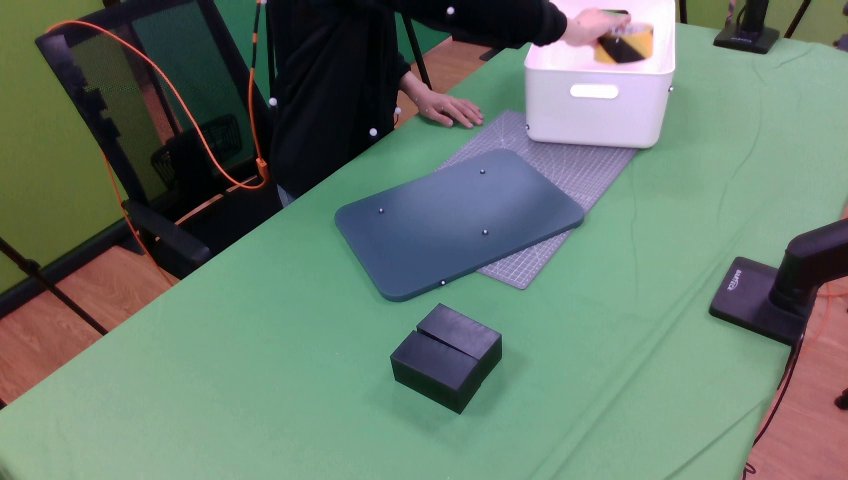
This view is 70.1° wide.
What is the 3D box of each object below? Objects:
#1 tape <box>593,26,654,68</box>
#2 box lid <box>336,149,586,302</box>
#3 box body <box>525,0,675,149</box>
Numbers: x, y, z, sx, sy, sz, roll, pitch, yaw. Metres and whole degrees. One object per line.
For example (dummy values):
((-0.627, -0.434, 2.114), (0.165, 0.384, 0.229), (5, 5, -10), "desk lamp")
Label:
((0.386, -0.376, 1.174), (0.117, 0.053, 0.116), (-7, 30, 4), "tape")
((0.055, -0.040, 1.022), (0.373, 0.015, 0.261), (-22, 42, -16), "box lid")
((0.356, -0.342, 1.212), (0.253, 0.161, 0.363), (7, 42, 17), "box body")
